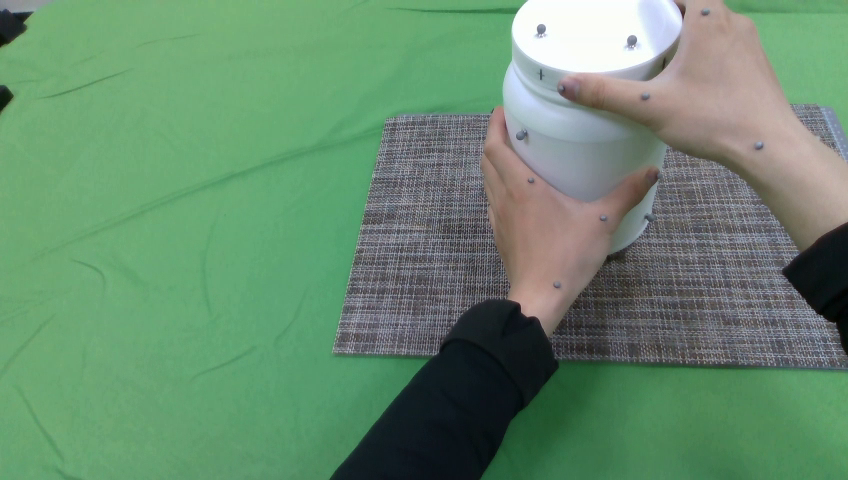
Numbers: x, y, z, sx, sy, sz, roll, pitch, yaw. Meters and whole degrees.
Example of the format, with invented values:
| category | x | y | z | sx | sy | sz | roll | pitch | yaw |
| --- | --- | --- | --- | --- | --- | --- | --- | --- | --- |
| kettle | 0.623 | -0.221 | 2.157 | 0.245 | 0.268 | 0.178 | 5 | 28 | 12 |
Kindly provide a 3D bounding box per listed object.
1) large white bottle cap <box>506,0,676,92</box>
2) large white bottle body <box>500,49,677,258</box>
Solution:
| category | x | y | z | sx | sy | sz | roll | pitch | yaw |
| --- | --- | --- | --- | --- | --- | --- | --- | --- | --- |
| large white bottle cap | 0.115 | -0.144 | 0.423 | 0.115 | 0.018 | 0.113 | -5 | 51 | 7 |
| large white bottle body | 0.127 | -0.088 | 0.491 | 0.130 | 0.186 | 0.129 | -4 | 50 | 5 |
